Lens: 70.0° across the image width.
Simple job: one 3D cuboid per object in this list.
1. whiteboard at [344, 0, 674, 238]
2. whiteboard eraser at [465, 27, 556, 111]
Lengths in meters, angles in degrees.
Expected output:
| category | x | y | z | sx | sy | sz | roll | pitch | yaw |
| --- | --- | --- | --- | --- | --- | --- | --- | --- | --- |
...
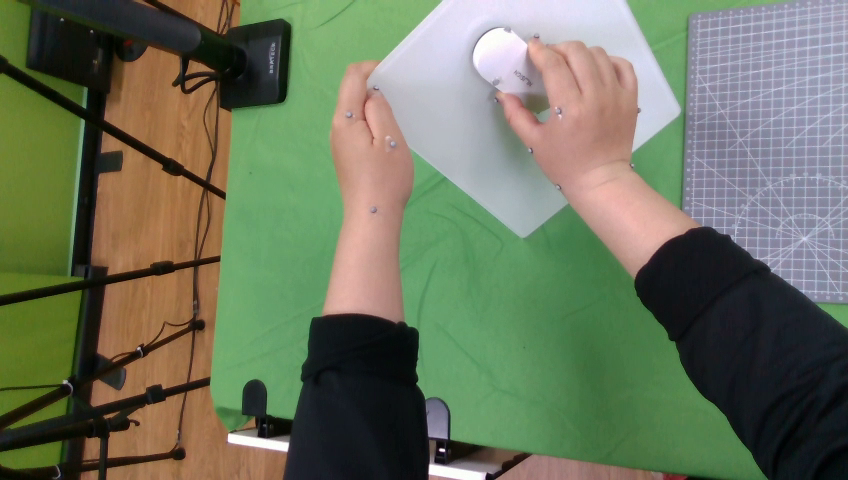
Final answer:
| category | x | y | z | sx | sy | sz | roll | pitch | yaw |
| --- | --- | --- | --- | --- | --- | --- | --- | --- | --- |
| whiteboard | 0.077 | -0.171 | 0.601 | 0.217 | 0.309 | 0.142 | -40 | 51 | 16 |
| whiteboard eraser | 0.073 | -0.141 | 0.506 | 0.041 | 0.102 | 0.018 | -45 | 48 | 23 |
